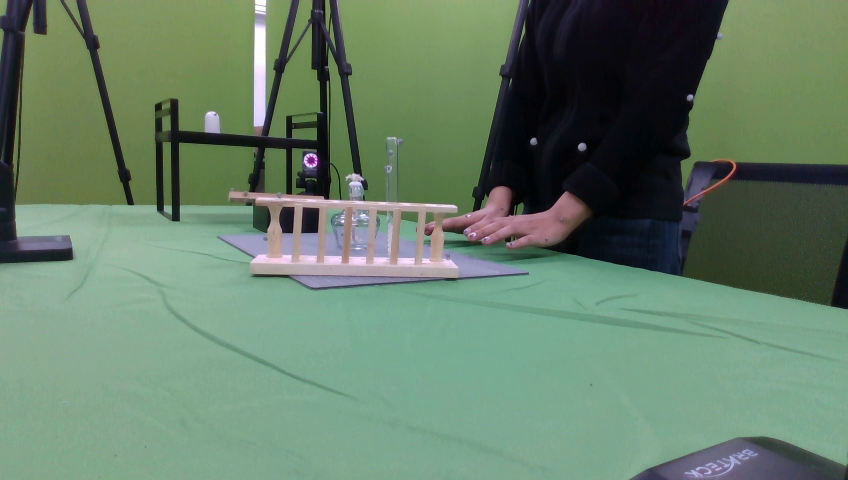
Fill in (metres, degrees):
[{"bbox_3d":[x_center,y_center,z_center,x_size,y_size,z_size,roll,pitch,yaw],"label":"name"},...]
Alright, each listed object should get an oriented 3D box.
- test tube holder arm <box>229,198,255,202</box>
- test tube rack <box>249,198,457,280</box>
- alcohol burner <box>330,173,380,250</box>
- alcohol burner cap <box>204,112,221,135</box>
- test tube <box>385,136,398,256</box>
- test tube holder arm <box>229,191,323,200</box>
[{"bbox_3d":[-0.320,-0.079,1.133,0.088,0.015,0.010,-1,-24,-27],"label":"test tube holder arm"},{"bbox_3d":[-0.082,-0.002,0.733,0.243,0.085,0.066,2,8,-7],"label":"test tube rack"},{"bbox_3d":[-0.107,-0.044,0.938,0.078,0.119,0.078,1,6,0],"label":"alcohol burner"},{"bbox_3d":[-0.444,-0.245,1.270,0.034,0.048,0.034,4,8,0],"label":"alcohol burner cap"},{"bbox_3d":[-0.040,-0.053,0.751,0.017,0.150,0.017,0,5,0],"label":"test tube"},{"bbox_3d":[-0.278,-0.082,1.150,0.179,0.015,0.013,-1,-25,-29],"label":"test tube holder arm"}]
